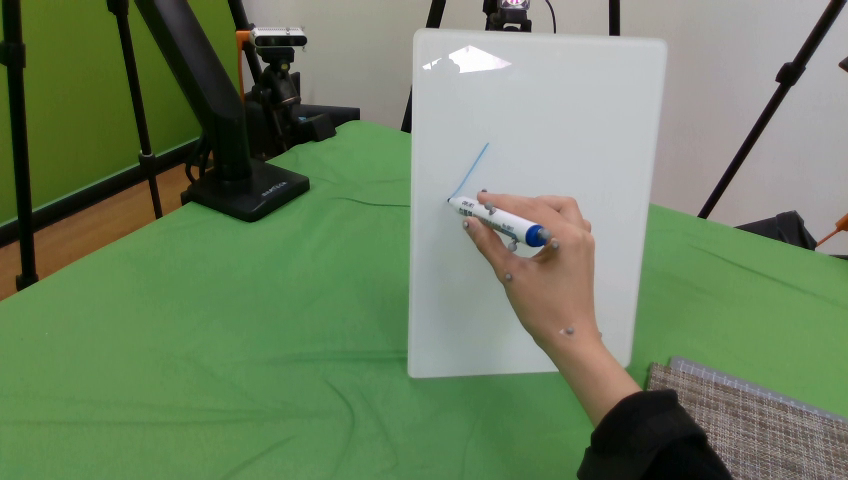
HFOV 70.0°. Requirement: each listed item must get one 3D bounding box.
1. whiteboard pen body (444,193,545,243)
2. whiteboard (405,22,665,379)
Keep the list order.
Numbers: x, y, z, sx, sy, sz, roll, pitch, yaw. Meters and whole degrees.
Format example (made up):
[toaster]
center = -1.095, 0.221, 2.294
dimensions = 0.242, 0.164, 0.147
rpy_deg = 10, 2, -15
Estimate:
[whiteboard pen body]
center = 0.046, -0.020, 0.450
dimensions = 0.017, 0.017, 0.139
rpy_deg = -10, 18, -22
[whiteboard]
center = 0.084, -0.040, 0.591
dimensions = 0.218, 0.306, 0.143
rpy_deg = -1, 15, -8
